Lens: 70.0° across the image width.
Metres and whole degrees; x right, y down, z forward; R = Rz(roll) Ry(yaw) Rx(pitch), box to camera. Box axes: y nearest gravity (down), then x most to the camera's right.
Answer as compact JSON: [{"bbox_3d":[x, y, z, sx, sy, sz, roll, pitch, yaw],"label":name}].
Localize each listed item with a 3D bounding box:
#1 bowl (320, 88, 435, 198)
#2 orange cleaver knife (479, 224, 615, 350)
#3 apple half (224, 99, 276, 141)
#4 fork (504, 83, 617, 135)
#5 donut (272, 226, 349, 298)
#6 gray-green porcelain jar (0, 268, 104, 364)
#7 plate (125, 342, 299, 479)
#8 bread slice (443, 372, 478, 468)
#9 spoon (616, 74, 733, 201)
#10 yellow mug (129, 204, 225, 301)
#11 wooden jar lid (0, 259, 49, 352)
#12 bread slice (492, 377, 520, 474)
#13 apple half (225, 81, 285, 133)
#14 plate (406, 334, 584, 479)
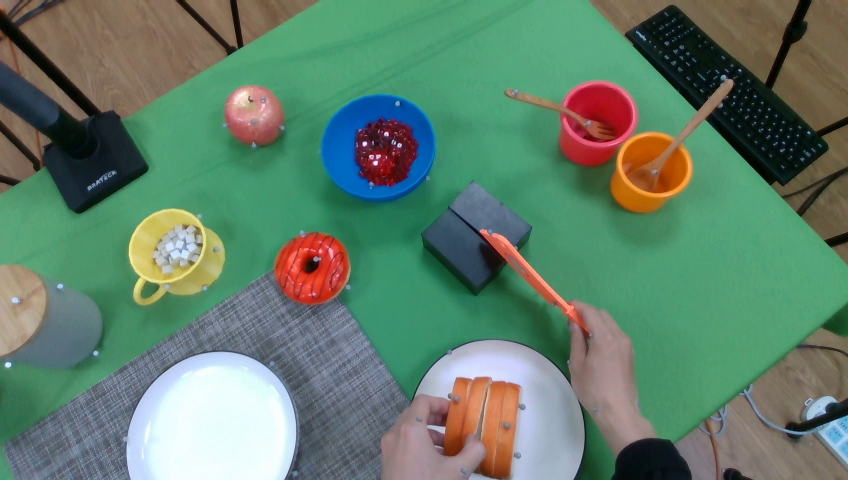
[{"bbox_3d":[-0.058,-0.117,0.814,0.151,0.077,0.150,-1,73,3],"label":"bowl"},{"bbox_3d":[0.146,0.055,0.731,0.212,0.077,0.012,44,83,-6],"label":"orange cleaver knife"},{"bbox_3d":[-0.243,-0.156,0.837,0.081,0.082,0.032,20,69,9],"label":"apple half"},{"bbox_3d":[0.180,-0.169,0.781,0.209,0.018,0.028,11,66,-38],"label":"fork"},{"bbox_3d":[-0.147,0.029,0.786,0.099,0.048,0.098,-1,73,2],"label":"donut"},{"bbox_3d":[-0.470,0.095,0.743,0.106,0.127,0.105,-1,72,3],"label":"gray-green porcelain jar"},{"bbox_3d":[-0.251,0.229,0.731,0.207,0.039,0.206,-1,73,3],"label":"plate"},{"bbox_3d":[0.042,0.197,0.672,0.018,0.135,0.106,4,70,12],"label":"bread slice"},{"bbox_3d":[0.313,-0.125,0.759,0.041,0.194,0.022,47,35,17],"label":"spoon"},{"bbox_3d":[-0.330,0.023,0.791,0.099,0.064,0.130,30,77,12],"label":"yellow mug"},{"bbox_3d":[-0.474,0.075,0.684,0.108,0.021,0.107,-1,71,5],"label":"wooden jar lid"},{"bbox_3d":[0.091,0.203,0.659,0.019,0.132,0.104,7,76,11],"label":"bread slice"},{"bbox_3d":[-0.230,-0.190,0.849,0.080,0.075,0.053,19,69,13],"label":"apple half"},{"bbox_3d":[0.083,0.217,0.721,0.209,0.038,0.208,-1,72,3],"label":"plate"}]
